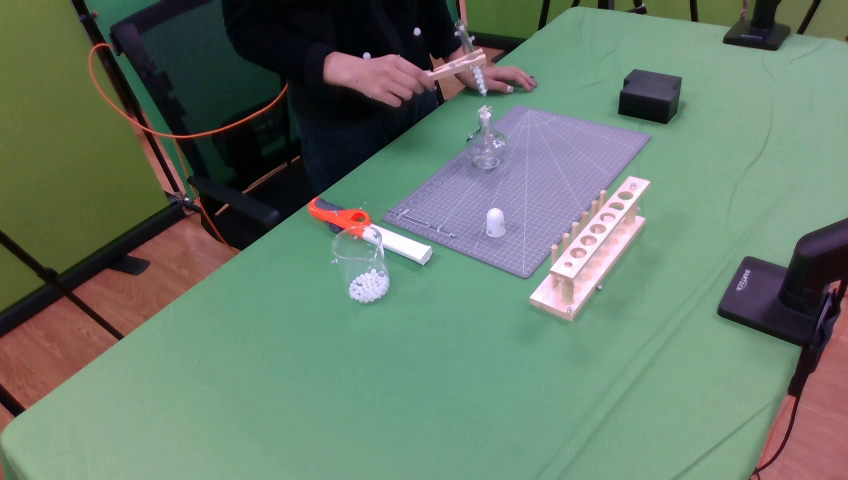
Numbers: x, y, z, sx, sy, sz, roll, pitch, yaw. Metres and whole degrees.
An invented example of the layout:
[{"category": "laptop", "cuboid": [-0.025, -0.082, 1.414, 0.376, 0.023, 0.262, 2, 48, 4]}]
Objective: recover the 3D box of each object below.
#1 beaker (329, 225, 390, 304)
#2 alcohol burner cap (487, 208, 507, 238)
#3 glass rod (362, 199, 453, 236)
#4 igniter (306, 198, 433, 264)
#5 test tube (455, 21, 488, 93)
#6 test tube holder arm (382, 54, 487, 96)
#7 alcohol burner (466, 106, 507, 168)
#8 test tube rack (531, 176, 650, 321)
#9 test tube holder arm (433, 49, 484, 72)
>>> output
[{"category": "beaker", "cuboid": [-0.089, 0.040, 0.890, 0.074, 0.101, 0.083, -32, 46, -24]}, {"category": "alcohol burner cap", "cuboid": [0.116, -0.030, 0.975, 0.034, 0.048, 0.033, -6, 40, 5]}, {"category": "glass rod", "cuboid": [-0.031, -0.041, 1.041, 0.198, 0.008, 0.008, 22, 50, 31]}, {"category": "igniter", "cuboid": [-0.102, -0.020, 1.019, 0.274, 0.025, 0.057, 22, 59, 32]}, {"category": "test tube", "cuboid": [0.080, -0.297, 0.995, 0.017, 0.151, 0.017, -11, 56, 16]}, {"category": "test tube holder arm", "cuboid": [0.016, -0.272, 0.998, 0.178, 0.015, 0.013, -18, 51, 4]}, {"category": "alcohol burner", "cuboid": [0.114, -0.193, 1.112, 0.078, 0.119, 0.077, -4, 41, 4]}, {"category": "test tube rack", "cuboid": [0.246, 0.002, 0.884, 0.066, 0.085, 0.243, 22, 49, 32]}, {"category": "test tube holder arm", "cuboid": [0.057, -0.292, 0.999, 0.088, 0.015, 0.010, -24, 51, 0]}]
